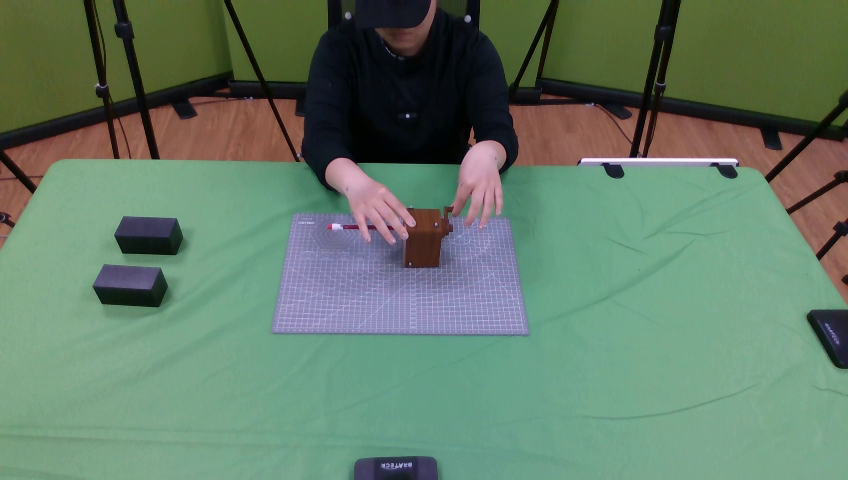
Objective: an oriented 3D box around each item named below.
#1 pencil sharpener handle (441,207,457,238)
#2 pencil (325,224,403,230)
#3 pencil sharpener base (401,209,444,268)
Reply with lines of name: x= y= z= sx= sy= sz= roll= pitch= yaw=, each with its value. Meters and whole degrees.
pencil sharpener handle: x=0.048 y=-0.035 z=1.130 sx=0.031 sy=0.036 sz=0.067 roll=0 pitch=56 yaw=-5
pencil: x=-0.083 y=-0.023 z=1.110 sx=0.194 sy=0.012 sz=0.012 roll=0 pitch=45 yaw=-6
pencil sharpener base: x=-0.004 y=-0.002 z=1.136 sx=0.077 sy=0.107 sz=0.061 roll=0 pitch=46 yaw=-5
